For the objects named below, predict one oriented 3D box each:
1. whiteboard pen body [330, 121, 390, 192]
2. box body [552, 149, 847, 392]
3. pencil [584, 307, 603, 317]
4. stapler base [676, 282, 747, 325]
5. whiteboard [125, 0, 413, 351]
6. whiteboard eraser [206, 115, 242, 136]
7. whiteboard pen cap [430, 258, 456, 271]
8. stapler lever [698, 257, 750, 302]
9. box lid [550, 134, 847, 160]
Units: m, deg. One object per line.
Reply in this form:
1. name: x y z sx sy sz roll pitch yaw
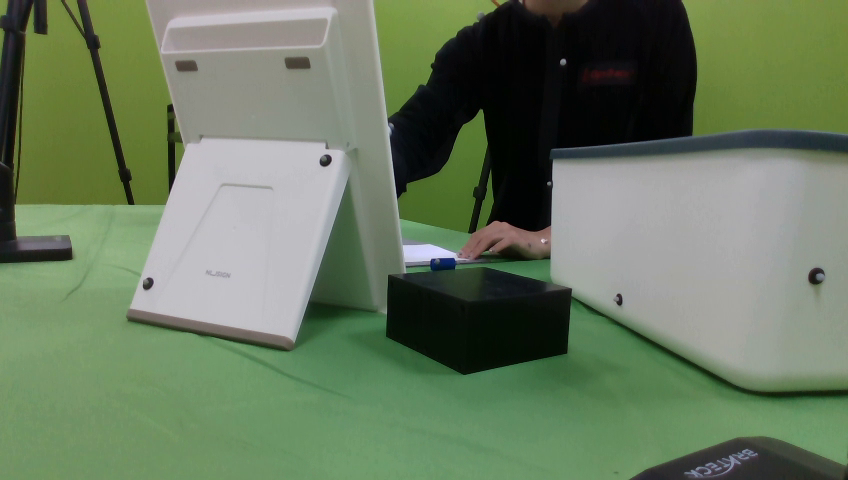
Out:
1. whiteboard pen body: -0.061 -0.081 0.578 0.017 0.017 0.141 5 35 16
2. box body: 0.290 0.002 0.549 0.255 0.160 0.363 2 7 -10
3. pencil: 0.250 0.055 0.656 0.195 0.012 0.012 -13 14 -26
4. stapler base: 0.283 0.057 0.585 0.041 0.024 0.131 30 18 34
5. whiteboard: -0.151 -0.050 0.471 0.216 0.305 0.144 6 27 24
6. whiteboard eraser: -0.438 -0.249 1.320 0.056 0.042 0.112 -3 9 -30
7. whiteboard pen cap: 0.024 0.031 0.791 0.033 0.018 0.018 1 8 -12
8. stapler lever: 0.290 0.035 0.580 0.026 0.040 0.119 30 20 34
9. box lid: 0.294 -0.071 0.538 0.264 0.015 0.370 2 6 -10
